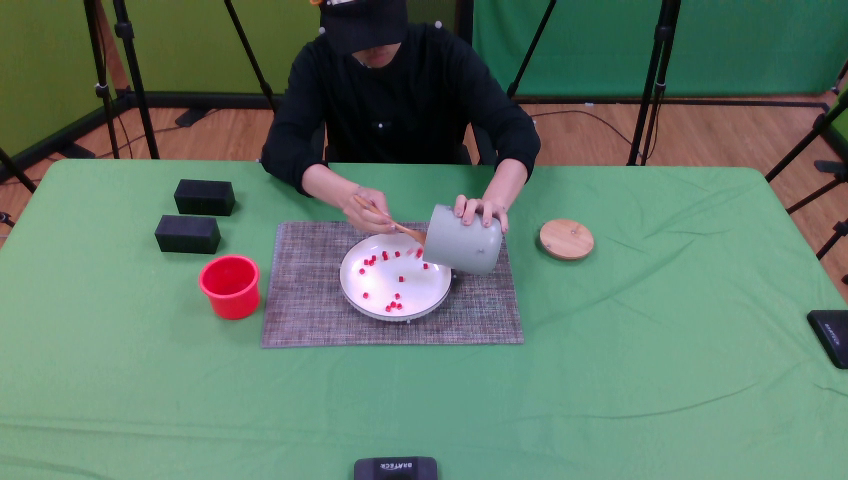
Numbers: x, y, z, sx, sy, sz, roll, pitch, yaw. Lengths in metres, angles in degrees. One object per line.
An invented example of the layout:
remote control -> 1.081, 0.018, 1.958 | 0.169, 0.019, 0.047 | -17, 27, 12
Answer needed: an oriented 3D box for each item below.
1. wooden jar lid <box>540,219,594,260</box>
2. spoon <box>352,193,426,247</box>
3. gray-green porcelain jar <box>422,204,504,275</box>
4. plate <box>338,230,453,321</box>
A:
wooden jar lid -> 0.286, 0.001, 1.218 | 0.108, 0.021, 0.107 | 1, 46, -1
spoon -> -0.045, -0.025, 1.057 | 0.194, 0.021, 0.041 | 30, 47, -15
gray-green porcelain jar -> 0.070, 0.001, 1.057 | 0.126, 0.106, 0.105 | 13, 46, 4
plate -> -0.052, 0.068, 1.111 | 0.208, 0.039, 0.206 | 2, 46, -2
